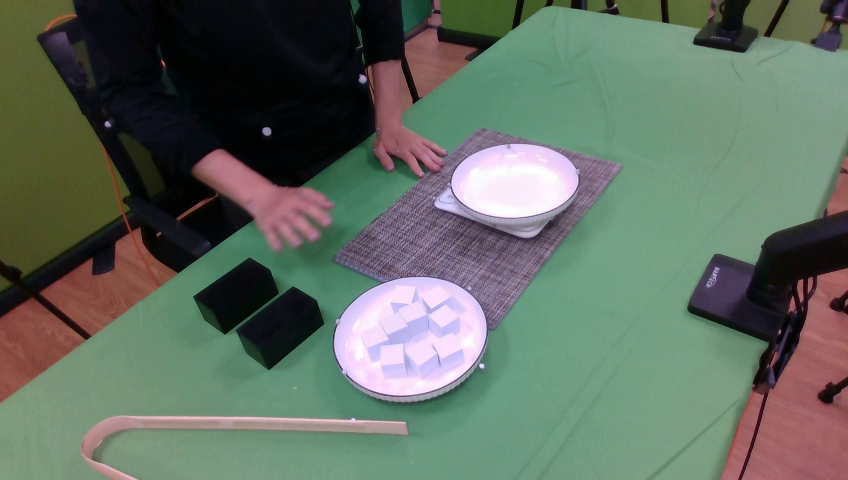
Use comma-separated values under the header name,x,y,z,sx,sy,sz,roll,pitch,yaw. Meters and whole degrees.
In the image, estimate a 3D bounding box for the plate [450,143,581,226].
name,x,y,z,sx,sy,sz,roll,pitch,yaw
plate,0.148,-0.087,0.986,0.209,0.038,0.208,-4,41,4

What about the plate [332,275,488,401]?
name,x,y,z,sx,sy,sz,roll,pitch,yaw
plate,-0.017,0.131,0.808,0.207,0.039,0.206,-4,41,4

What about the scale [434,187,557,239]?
name,x,y,z,sx,sy,sz,roll,pitch,yaw
scale,0.132,-0.075,1.025,0.199,0.032,0.149,22,48,30

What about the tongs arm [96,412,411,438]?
name,x,y,z,sx,sy,sz,roll,pitch,yaw
tongs arm,-0.208,0.227,0.732,0.387,0.028,0.028,-1,43,7

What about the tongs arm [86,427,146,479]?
name,x,y,z,sx,sy,sz,roll,pitch,yaw
tongs arm,-0.232,0.280,0.665,0.383,0.026,0.051,9,42,20
